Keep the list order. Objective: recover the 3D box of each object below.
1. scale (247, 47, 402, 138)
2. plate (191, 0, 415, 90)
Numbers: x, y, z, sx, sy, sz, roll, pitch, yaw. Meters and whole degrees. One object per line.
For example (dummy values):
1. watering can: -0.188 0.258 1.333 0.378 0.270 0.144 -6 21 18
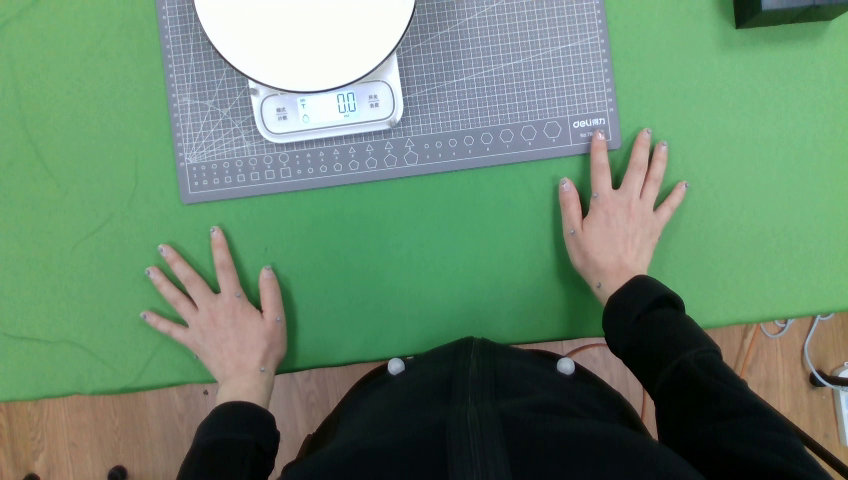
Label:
1. scale: -0.107 -0.209 0.600 0.149 0.031 0.201 -8 91 0
2. plate: -0.110 -0.241 0.566 0.209 0.038 0.209 0 90 -1
